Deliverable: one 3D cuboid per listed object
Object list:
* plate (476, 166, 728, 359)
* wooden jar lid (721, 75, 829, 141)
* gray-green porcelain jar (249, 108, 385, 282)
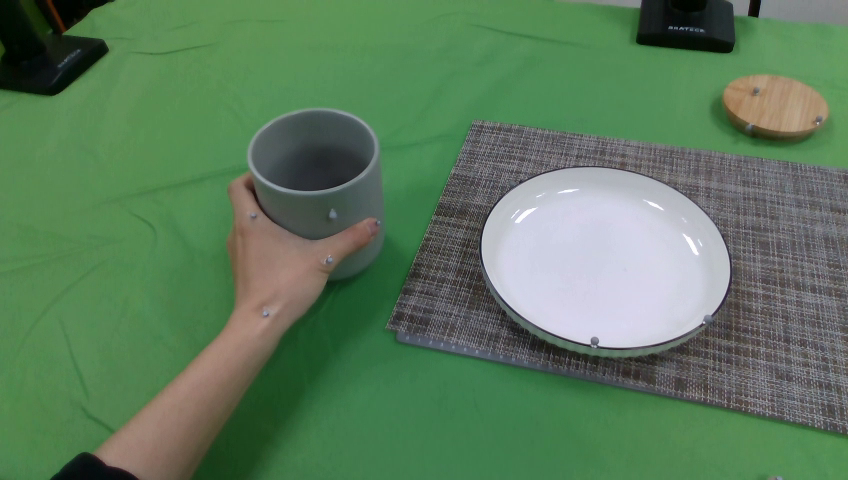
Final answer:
[{"bbox_3d":[0.149,0.018,0.528,0.207,0.039,0.205,-2,48,3],"label":"plate"},{"bbox_3d":[0.387,-0.146,0.673,0.108,0.021,0.107,-2,49,3],"label":"wooden jar lid"},{"bbox_3d":[-0.088,-0.033,0.533,0.106,0.127,0.105,1,50,-1],"label":"gray-green porcelain jar"}]
